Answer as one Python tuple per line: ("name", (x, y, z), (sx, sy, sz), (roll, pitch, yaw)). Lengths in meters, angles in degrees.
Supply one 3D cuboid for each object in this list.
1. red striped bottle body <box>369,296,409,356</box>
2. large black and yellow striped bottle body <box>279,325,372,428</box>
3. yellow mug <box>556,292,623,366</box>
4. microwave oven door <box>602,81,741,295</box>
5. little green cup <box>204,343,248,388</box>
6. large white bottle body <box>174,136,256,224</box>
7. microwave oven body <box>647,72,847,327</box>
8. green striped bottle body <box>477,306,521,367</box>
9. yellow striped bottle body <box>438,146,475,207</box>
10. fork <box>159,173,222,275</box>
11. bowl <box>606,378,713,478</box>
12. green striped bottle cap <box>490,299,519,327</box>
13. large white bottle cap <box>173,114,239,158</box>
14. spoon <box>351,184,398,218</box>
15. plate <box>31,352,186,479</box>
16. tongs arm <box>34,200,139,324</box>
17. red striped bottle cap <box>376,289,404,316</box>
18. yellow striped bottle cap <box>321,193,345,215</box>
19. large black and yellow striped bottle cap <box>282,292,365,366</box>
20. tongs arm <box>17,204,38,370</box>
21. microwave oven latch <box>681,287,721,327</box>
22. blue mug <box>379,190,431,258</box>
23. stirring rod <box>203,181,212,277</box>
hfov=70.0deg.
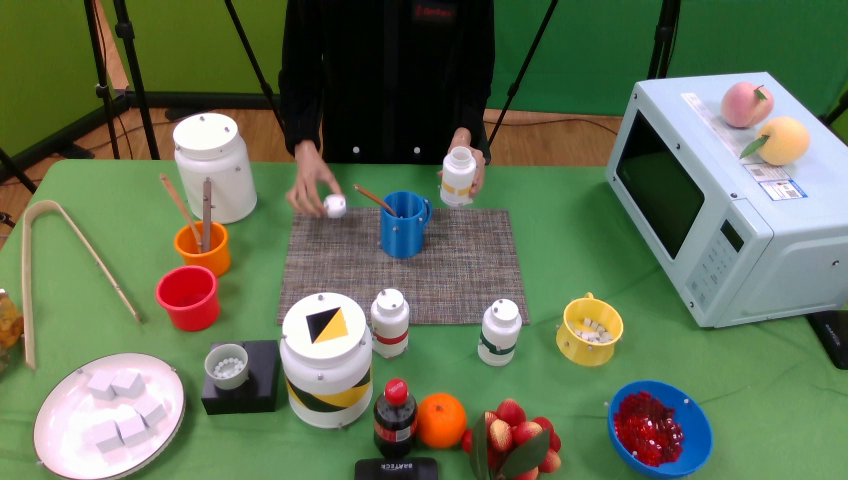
("red striped bottle body", (-0.058, 0.134, 0.997), (0.063, 0.120, 0.062), (4, 47, -4))
("large black and yellow striped bottle body", (-0.143, 0.181, 0.900), (0.131, 0.185, 0.130), (2, 46, -2))
("yellow mug", (0.285, 0.145, 1.051), (0.100, 0.064, 0.130), (7, 45, 3))
("microwave oven door", (0.456, -0.107, 1.162), (0.039, 0.245, 0.353), (-6, 47, -11))
("little green cup", (-0.294, 0.190, 0.909), (0.061, 0.039, 0.061), (1, 48, -1))
("large white bottle body", (-0.408, -0.137, 1.183), (0.131, 0.185, 0.130), (2, 46, -2))
("microwave oven body", (0.607, -0.089, 1.164), (0.326, 0.261, 0.438), (-7, 46, -10))
("green striped bottle body", (0.124, 0.151, 0.995), (0.063, 0.120, 0.063), (2, 46, -2))
("yellow striped bottle body", (0.062, -0.125, 1.159), (0.063, 0.121, 0.062), (2, 53, -2))
("fork", (-0.427, -0.029, 1.103), (0.028, 0.018, 0.207), (-31, 99, -30))
("bowl", (0.340, 0.292, 0.906), (0.151, 0.077, 0.150), (2, 46, -2))
("green striped bottle cap", (0.128, 0.115, 0.958), (0.044, 0.020, 0.044), (2, 47, -2))
("large white bottle cap", (-0.403, -0.195, 1.122), (0.115, 0.018, 0.114), (2, 47, -2))
("spoon", (-0.070, -0.056, 1.124), (0.021, 0.195, 0.041), (-34, 47, 13))
("plate", (-0.459, 0.262, 0.898), (0.209, 0.038, 0.208), (2, 46, -2))
("tongs arm", (-0.622, 0.034, 1.105), (0.051, 0.026, 0.382), (-32, 55, -26))
("red striped bottle cap", (-0.054, 0.098, 0.958), (0.044, 0.018, 0.044), (0, 48, 1))
("yellow striped bottle cap", (-0.175, -0.069, 1.168), (0.044, 0.019, 0.044), (3, 51, -4))
("large black and yellow striped bottle cap", (-0.139, 0.121, 0.841), (0.115, 0.019, 0.114), (3, 47, -3))
("tongs arm", (-0.698, 0.069, 1.068), (0.028, 0.028, 0.385), (-20, 50, -13))
("microwave oven latch", (0.494, 0.119, 1.087), (0.030, 0.029, 0.078), (-5, 46, -9))
("blue mug", (-0.032, -0.037, 1.169), (0.116, 0.106, 0.082), (-29, 55, -28))
("stirring rod", (-0.396, -0.021, 1.108), (0.014, 0.006, 0.176), (-1, 89, -1))
